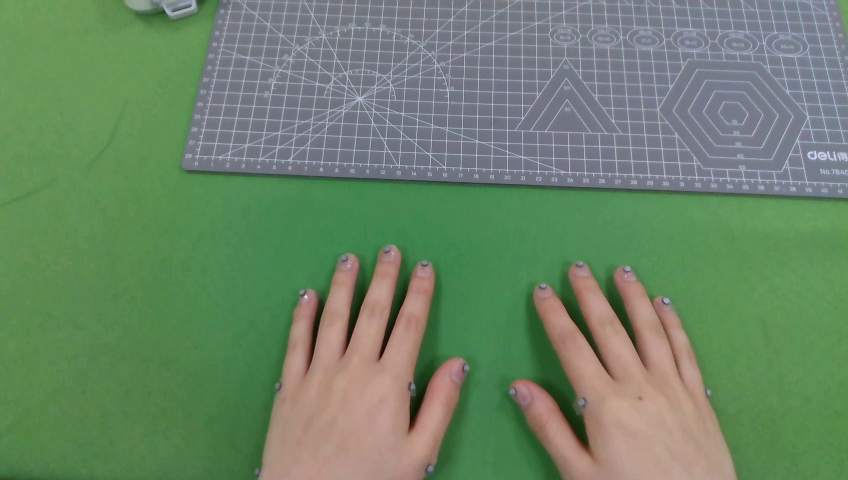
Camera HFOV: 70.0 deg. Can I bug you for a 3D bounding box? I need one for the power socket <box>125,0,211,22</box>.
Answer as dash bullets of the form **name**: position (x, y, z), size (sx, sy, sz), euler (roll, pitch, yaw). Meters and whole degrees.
- **power socket**: position (-0.213, -0.262, 0.465), size (0.072, 0.033, 0.225), euler (-19, 69, -9)
